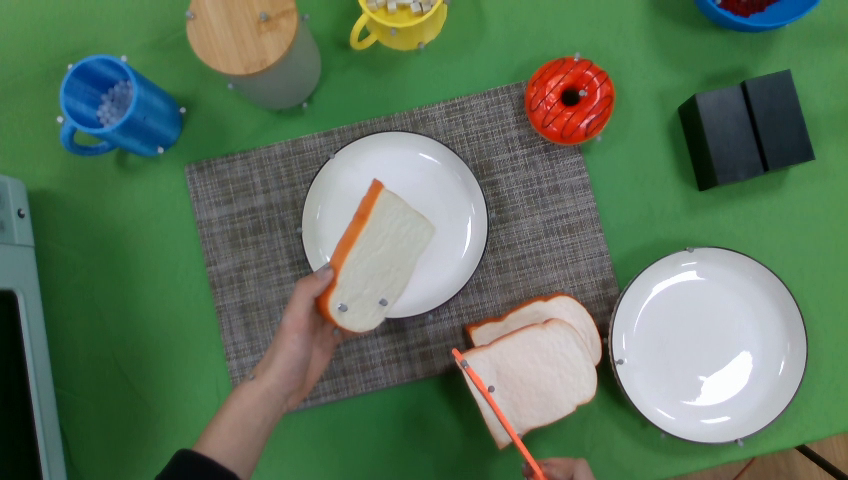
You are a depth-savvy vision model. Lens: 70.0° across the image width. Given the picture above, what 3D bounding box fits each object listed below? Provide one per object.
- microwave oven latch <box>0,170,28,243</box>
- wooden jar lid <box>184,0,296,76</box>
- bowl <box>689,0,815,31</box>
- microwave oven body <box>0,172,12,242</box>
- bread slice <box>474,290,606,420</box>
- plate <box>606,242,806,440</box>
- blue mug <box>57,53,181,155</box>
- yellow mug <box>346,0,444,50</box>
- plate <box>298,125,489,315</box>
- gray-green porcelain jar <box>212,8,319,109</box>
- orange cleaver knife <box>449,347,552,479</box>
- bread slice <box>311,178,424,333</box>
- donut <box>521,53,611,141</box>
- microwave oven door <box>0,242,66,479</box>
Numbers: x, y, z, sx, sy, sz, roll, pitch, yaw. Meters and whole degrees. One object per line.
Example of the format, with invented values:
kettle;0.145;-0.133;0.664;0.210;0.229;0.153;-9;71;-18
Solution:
microwave oven latch;-0.467;-0.036;0.675;0.030;0.029;0.079;-10;87;1
wooden jar lid;-0.176;-0.210;0.588;0.108;0.021;0.108;0;84;3
bowl;0.347;-0.292;0.661;0.151;0.077;0.151;0;87;2
microwave oven body;-0.584;0.157;0.571;0.326;0.260;0.441;-11;87;1
bread slice;0.130;0.112;0.631;0.134;0.018;0.106;-19;82;-27
plate;0.300;0.107;0.658;0.209;0.038;0.208;0;86;2
blue mug;-0.341;-0.134;0.662;0.116;0.106;0.082;-39;85;-1
yellow mug;-0.039;-0.264;0.680;0.100;0.064;0.131;45;90;4
plate;-0.033;-0.021;0.674;0.207;0.039;0.207;0;86;2
gray-green porcelain jar;-0.174;-0.205;0.650;0.106;0.127;0.105;0;86;2
orange cleaver knife;0.088;0.190;0.577;0.012;0.077;0.212;-35;100;-7
bread slice;-0.050;0.022;0.556;0.019;0.106;0.131;20;83;33
donut;0.157;-0.158;0.673;0.099;0.048;0.099;0;87;2
microwave oven door;-0.433;0.172;0.560;0.039;0.244;0.355;-11;86;1
